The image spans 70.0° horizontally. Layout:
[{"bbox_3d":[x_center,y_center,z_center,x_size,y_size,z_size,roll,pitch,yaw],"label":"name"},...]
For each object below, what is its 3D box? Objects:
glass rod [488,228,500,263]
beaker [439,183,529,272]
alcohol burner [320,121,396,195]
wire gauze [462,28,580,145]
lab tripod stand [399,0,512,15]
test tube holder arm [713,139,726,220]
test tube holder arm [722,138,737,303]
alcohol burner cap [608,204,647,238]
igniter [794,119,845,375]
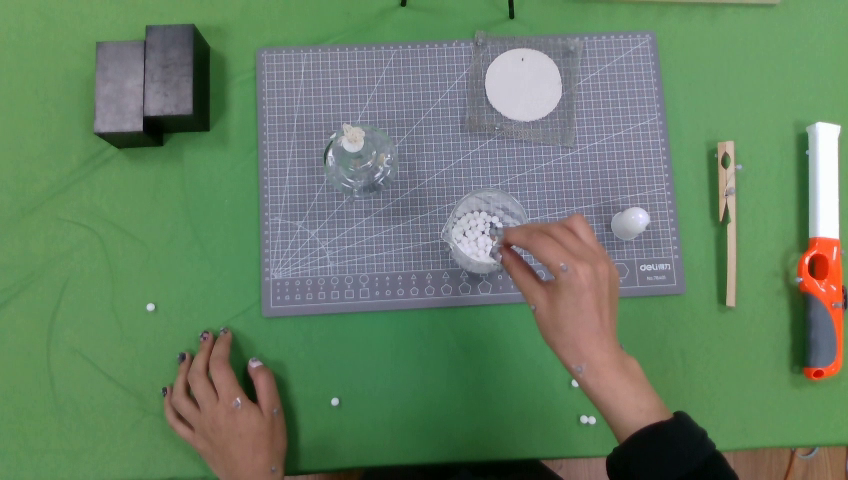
[{"bbox_3d":[0.062,0.007,0.549,0.008,0.200,0.008,-1,82,5],"label":"glass rod"},{"bbox_3d":[0.055,-0.007,0.604,0.084,0.100,0.073,-11,81,-2],"label":"beaker"},{"bbox_3d":[-0.068,-0.087,0.605,0.078,0.119,0.077,0,81,1],"label":"alcohol burner"},{"bbox_3d":[0.109,-0.173,0.675,0.125,0.011,0.121,8,83,-1],"label":"wire gauze"},{"bbox_3d":[0.040,-0.307,0.632,0.148,0.132,0.148,0,83,-1],"label":"lab tripod stand"},{"bbox_3d":[0.324,-0.066,0.662,0.010,0.015,0.087,-4,81,34],"label":"test tube holder arm"},{"bbox_3d":[0.328,-0.022,0.653,0.013,0.015,0.178,-5,80,34],"label":"test tube holder arm"},{"bbox_3d":[0.217,-0.023,0.638,0.034,0.048,0.033,0,81,-1],"label":"alcohol burner cap"},{"bbox_3d":[0.423,0.006,0.649,0.057,0.025,0.275,7,82,-10],"label":"igniter"}]
